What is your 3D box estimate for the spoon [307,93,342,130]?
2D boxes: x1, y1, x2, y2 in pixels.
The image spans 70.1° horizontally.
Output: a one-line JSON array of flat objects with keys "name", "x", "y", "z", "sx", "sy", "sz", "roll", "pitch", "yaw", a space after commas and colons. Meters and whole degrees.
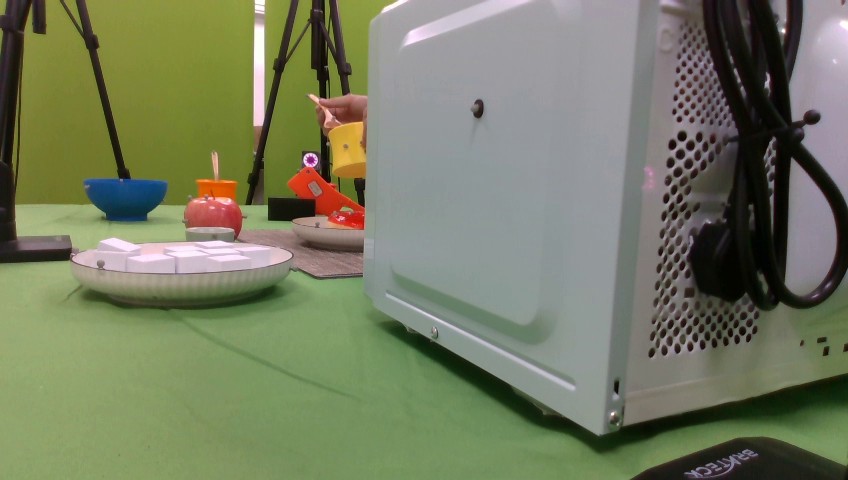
[{"name": "spoon", "x": -0.184, "y": -0.239, "z": 1.117, "sx": 0.042, "sy": 0.021, "sz": 0.193, "roll": -5, "pitch": 36, "yaw": -25}]

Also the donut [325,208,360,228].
[{"name": "donut", "x": -0.111, "y": -0.025, "z": 0.974, "sx": 0.099, "sy": 0.048, "sz": 0.099, "roll": 5, "pitch": 8, "yaw": 0}]

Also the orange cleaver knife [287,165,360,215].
[{"name": "orange cleaver knife", "x": -0.211, "y": -0.092, "z": 1.382, "sx": 0.212, "sy": 0.077, "sz": 0.012, "roll": 34, "pitch": 2, "yaw": -15}]

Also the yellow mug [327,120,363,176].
[{"name": "yellow mug", "x": -0.094, "y": -0.148, "z": 0.956, "sx": 0.100, "sy": 0.064, "sz": 0.130, "roll": -5, "pitch": -6, "yaw": -28}]

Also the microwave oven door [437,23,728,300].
[{"name": "microwave oven door", "x": 0.181, "y": -0.072, "z": 0.621, "sx": 0.358, "sy": 0.243, "sz": 0.039, "roll": -2, "pitch": 8, "yaw": -29}]

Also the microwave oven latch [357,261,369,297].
[{"name": "microwave oven latch", "x": -0.019, "y": 0.033, "z": 0.531, "sx": 0.079, "sy": 0.029, "sz": 0.030, "roll": -1, "pitch": 7, "yaw": -27}]

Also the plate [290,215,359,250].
[{"name": "plate", "x": -0.110, "y": -0.014, "z": 0.973, "sx": 0.209, "sy": 0.038, "sz": 0.209, "roll": 3, "pitch": 8, "yaw": 0}]

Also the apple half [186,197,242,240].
[{"name": "apple half", "x": -0.306, "y": -0.026, "z": 0.904, "sx": 0.053, "sy": 0.074, "sz": 0.081, "roll": 14, "pitch": 9, "yaw": 37}]

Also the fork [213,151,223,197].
[{"name": "fork", "x": -0.494, "y": -0.143, "z": 1.442, "sx": 0.028, "sy": 0.018, "sz": 0.206, "roll": -2, "pitch": 52, "yaw": -20}]

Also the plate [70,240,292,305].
[{"name": "plate", "x": -0.242, "y": 0.031, "z": 0.618, "sx": 0.208, "sy": 0.039, "sz": 0.207, "roll": 2, "pitch": 8, "yaw": 0}]

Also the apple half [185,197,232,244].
[{"name": "apple half", "x": -0.337, "y": -0.031, "z": 0.927, "sx": 0.032, "sy": 0.081, "sz": 0.082, "roll": 13, "pitch": 12, "yaw": 37}]

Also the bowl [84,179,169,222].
[{"name": "bowl", "x": -0.584, "y": -0.078, "z": 1.194, "sx": 0.151, "sy": 0.077, "sz": 0.151, "roll": 3, "pitch": 8, "yaw": 0}]

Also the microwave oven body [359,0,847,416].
[{"name": "microwave oven body", "x": 0.211, "y": -0.047, "z": 0.474, "sx": 0.444, "sy": 0.260, "sz": 0.324, "roll": -1, "pitch": 7, "yaw": -28}]

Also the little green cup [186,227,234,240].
[{"name": "little green cup", "x": -0.284, "y": 0.005, "z": 0.805, "sx": 0.061, "sy": 0.038, "sz": 0.061, "roll": 3, "pitch": 8, "yaw": 0}]
